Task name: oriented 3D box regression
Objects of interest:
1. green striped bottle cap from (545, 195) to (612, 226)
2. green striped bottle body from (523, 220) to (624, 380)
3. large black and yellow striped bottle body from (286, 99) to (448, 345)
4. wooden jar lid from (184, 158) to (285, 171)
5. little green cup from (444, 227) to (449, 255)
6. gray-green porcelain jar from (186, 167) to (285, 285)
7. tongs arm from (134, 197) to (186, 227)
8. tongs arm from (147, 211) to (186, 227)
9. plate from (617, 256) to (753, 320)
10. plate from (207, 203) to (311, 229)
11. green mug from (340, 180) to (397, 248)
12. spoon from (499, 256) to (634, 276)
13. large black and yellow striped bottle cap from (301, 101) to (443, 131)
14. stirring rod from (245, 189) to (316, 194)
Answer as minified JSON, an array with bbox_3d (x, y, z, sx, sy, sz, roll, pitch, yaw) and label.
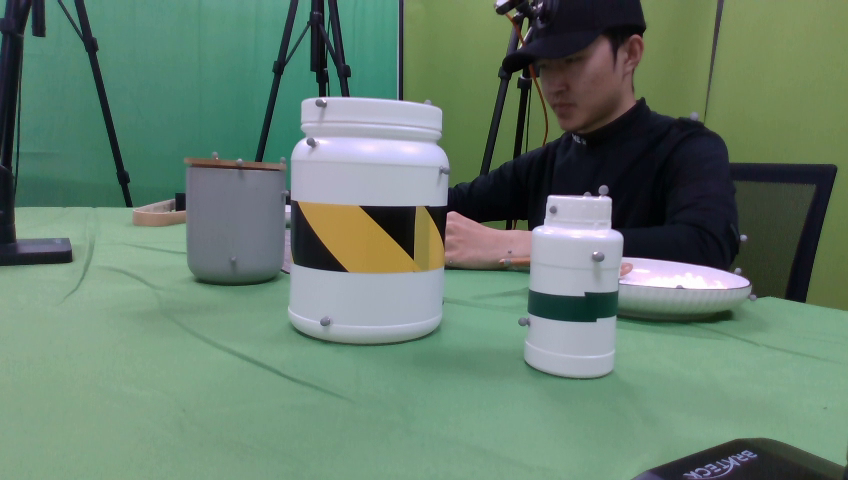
[{"bbox_3d":[0.106,-0.020,0.414,0.044,0.020,0.044,2,4,0],"label":"green striped bottle cap"},{"bbox_3d":[0.104,0.031,0.421,0.063,0.119,0.063,2,7,0],"label":"green striped bottle body"},{"bbox_3d":[-0.047,-0.018,0.501,0.131,0.184,0.130,2,7,0],"label":"large black and yellow striped bottle body"},{"bbox_3d":[-0.210,-0.078,0.674,0.108,0.020,0.108,5,6,0],"label":"wooden jar lid"},{"bbox_3d":[0.008,0.002,0.919,0.061,0.038,0.061,0,10,0],"label":"little green cup"},{"bbox_3d":[-0.212,-0.017,0.682,0.106,0.126,0.106,2,7,0],"label":"gray-green porcelain jar"},{"bbox_3d":[-0.556,-0.066,1.320,0.051,0.026,0.384,7,7,-5],"label":"tongs arm"},{"bbox_3d":[-0.478,-0.059,1.321,0.028,0.028,0.388,12,8,7],"label":"tongs arm"},{"bbox_3d":[0.234,0.049,0.650,0.209,0.038,0.209,2,7,0],"label":"plate"},{"bbox_3d":[-0.342,-0.050,1.259,0.208,0.039,0.207,2,7,0],"label":"plate"},{"bbox_3d":[-0.087,-0.046,0.999,0.092,0.105,0.125,2,9,7],"label":"green mug"},{"bbox_3d":[0.162,0.027,0.679,0.195,0.021,0.041,8,3,-30],"label":"spoon"},{"bbox_3d":[-0.042,-0.100,0.491,0.115,0.019,0.115,1,8,0],"label":"large black and yellow striped bottle cap"},{"bbox_3d":[-0.351,-0.120,1.489,0.177,0.014,0.006,-2,6,-29],"label":"stirring rod"}]
